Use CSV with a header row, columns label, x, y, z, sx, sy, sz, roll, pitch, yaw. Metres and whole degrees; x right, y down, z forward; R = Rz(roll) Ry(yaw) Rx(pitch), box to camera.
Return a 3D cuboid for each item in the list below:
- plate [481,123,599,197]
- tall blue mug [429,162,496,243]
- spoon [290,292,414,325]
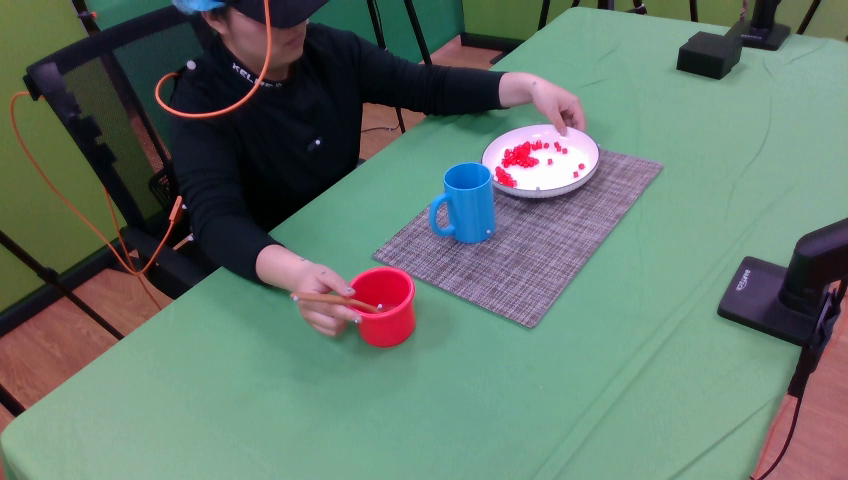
label,x,y,z,sx,sy,sz,roll,pitch,yaw
plate,0.208,-0.140,1.090,0.207,0.039,0.206,-7,41,6
tall blue mug,0.067,-0.051,0.960,0.077,0.108,0.107,17,47,27
spoon,-0.091,0.087,0.805,0.021,0.195,0.041,-57,42,15
